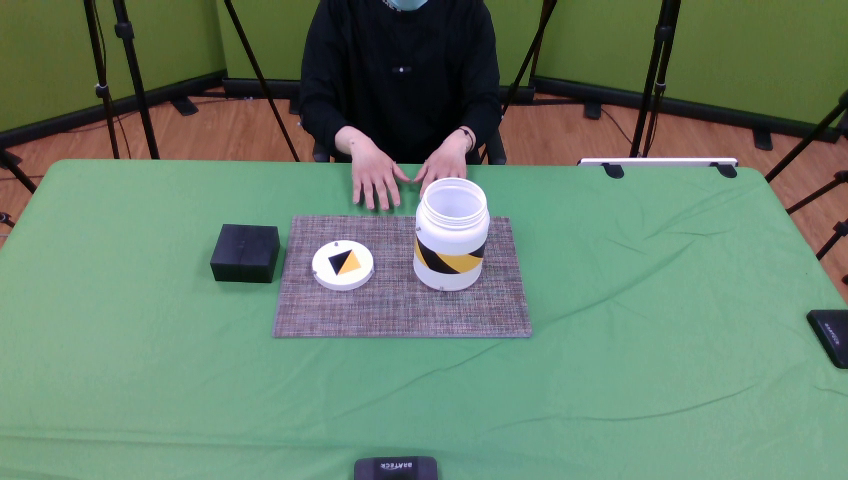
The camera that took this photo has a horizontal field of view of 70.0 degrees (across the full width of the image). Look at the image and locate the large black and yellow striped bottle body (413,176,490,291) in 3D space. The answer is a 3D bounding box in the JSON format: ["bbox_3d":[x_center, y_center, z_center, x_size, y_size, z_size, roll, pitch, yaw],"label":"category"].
[{"bbox_3d":[0.049,-0.011,1.091,0.131,0.185,0.130,2,46,-2],"label":"large black and yellow striped bottle body"}]

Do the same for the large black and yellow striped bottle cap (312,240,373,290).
[{"bbox_3d":[-0.153,0.046,1.140,0.115,0.019,0.114,3,47,-3],"label":"large black and yellow striped bottle cap"}]
